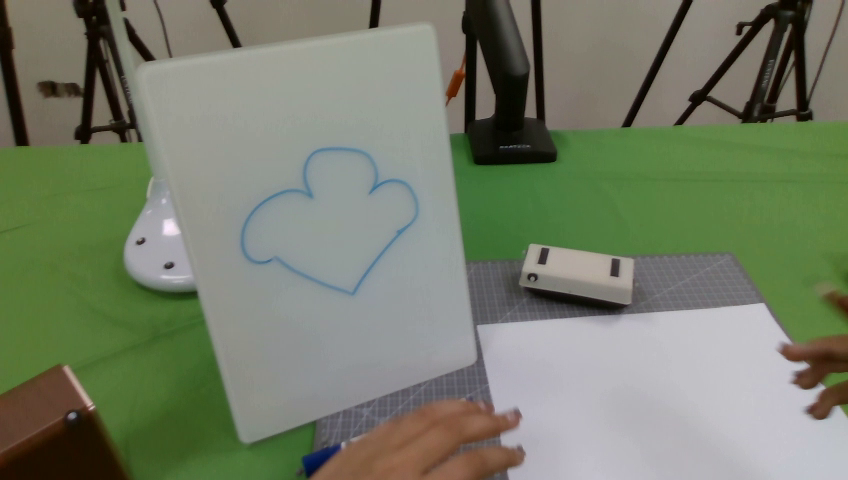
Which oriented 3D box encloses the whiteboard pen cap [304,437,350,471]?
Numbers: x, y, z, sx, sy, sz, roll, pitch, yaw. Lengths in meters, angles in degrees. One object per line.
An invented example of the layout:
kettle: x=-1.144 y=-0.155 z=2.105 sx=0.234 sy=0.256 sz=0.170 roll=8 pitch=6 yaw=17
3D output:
whiteboard pen cap: x=-0.076 y=0.168 z=0.476 sx=0.033 sy=0.018 sz=0.018 roll=-16 pitch=40 yaw=-17

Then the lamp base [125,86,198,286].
lamp base: x=-0.270 y=-0.067 z=0.659 sx=0.177 sy=0.182 sz=0.160 roll=24 pitch=44 yaw=32

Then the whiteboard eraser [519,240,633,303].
whiteboard eraser: x=0.159 y=0.033 z=0.632 sx=0.112 sy=0.042 sz=0.055 roll=10 pitch=40 yaw=13

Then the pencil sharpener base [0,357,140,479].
pencil sharpener base: x=-0.264 y=0.152 z=0.433 sx=0.077 sy=0.108 sz=0.061 roll=-31 pitch=47 yaw=-33

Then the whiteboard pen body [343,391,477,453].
whiteboard pen body: x=-0.022 y=0.152 z=0.493 sx=0.141 sy=0.017 sz=0.017 roll=-15 pitch=40 yaw=-17

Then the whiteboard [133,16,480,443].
whiteboard: x=-0.093 y=-0.020 z=0.540 sx=0.218 sy=0.307 sz=0.142 roll=-15 pitch=20 yaw=-17

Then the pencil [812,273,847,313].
pencil: x=0.281 y=0.080 z=0.329 sx=0.012 sy=0.012 sz=0.192 roll=-9 pitch=39 yaw=-10
